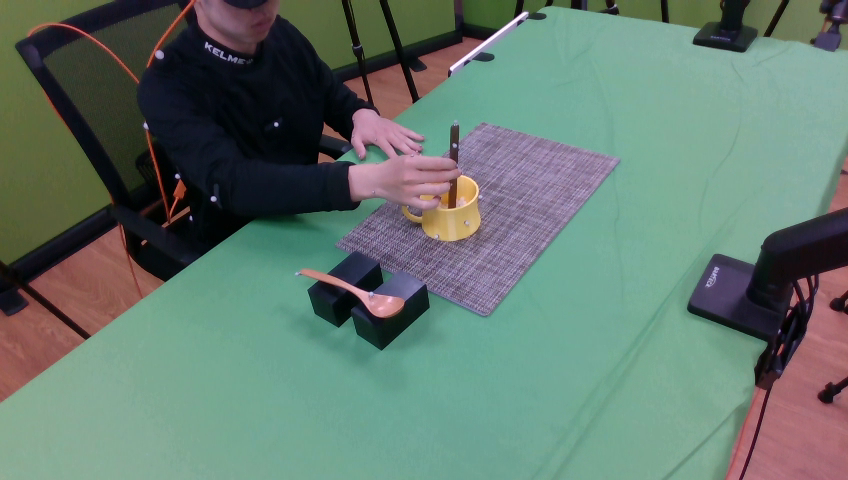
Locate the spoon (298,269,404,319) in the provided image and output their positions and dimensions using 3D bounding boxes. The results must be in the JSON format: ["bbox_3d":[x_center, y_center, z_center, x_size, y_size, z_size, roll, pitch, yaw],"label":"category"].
[{"bbox_3d":[-0.106,0.068,0.831,0.192,0.022,0.042,21,49,32],"label":"spoon"}]

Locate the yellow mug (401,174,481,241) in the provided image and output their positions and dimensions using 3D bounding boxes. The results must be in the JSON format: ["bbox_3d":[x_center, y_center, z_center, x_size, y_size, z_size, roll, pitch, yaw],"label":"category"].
[{"bbox_3d":[0.026,-0.054,0.989,0.130,0.064,0.099,-1,41,8],"label":"yellow mug"}]

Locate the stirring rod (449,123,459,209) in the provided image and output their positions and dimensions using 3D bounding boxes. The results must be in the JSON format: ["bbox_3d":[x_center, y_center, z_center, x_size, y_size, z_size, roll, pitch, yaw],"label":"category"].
[{"bbox_3d":[0.046,-0.104,0.935,0.014,0.177,0.005,-21,47,-19],"label":"stirring rod"}]
